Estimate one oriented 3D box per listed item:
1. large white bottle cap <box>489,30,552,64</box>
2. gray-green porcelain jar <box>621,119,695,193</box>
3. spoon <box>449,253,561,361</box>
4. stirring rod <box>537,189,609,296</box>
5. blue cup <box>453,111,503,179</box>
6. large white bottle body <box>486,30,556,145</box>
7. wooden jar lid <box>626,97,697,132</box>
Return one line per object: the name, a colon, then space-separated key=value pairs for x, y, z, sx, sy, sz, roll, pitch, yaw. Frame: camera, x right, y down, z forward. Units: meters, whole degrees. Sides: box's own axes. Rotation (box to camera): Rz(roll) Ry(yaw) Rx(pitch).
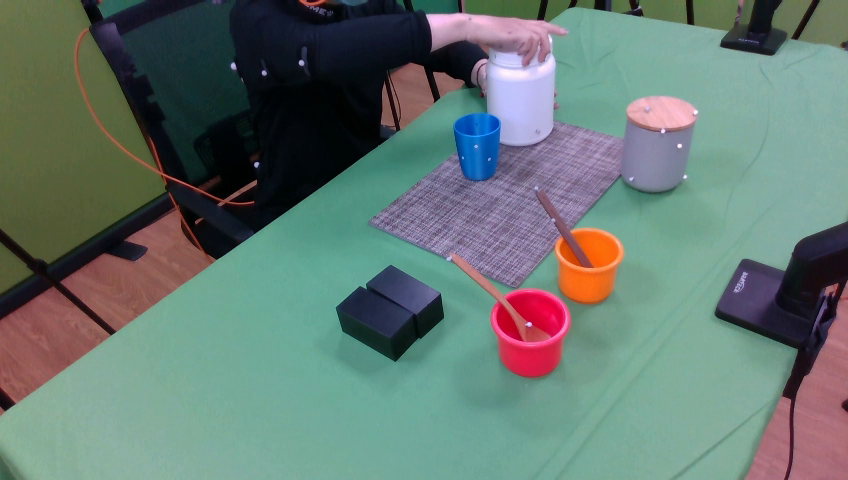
large white bottle cap: x=0.175 y=-0.353 z=1.101 sx=0.115 sy=0.018 sz=0.114 roll=-3 pitch=41 yaw=3
gray-green porcelain jar: x=0.389 y=-0.152 z=1.016 sx=0.106 sy=0.127 sz=0.105 roll=-4 pitch=40 yaw=4
spoon: x=0.103 y=0.083 z=0.770 sx=0.194 sy=0.021 sz=0.042 roll=47 pitch=52 yaw=-7
stirring rod: x=0.210 y=0.003 z=0.855 sx=0.014 sy=0.006 sz=0.176 roll=-32 pitch=88 yaw=-30
blue cup: x=0.097 y=-0.166 z=1.088 sx=0.092 sy=0.100 sz=0.092 roll=-2 pitch=41 yaw=3
large white bottle body: x=0.184 y=-0.290 z=1.155 sx=0.130 sy=0.185 sz=0.130 roll=-4 pitch=41 yaw=4
wooden jar lid: x=0.381 y=-0.198 z=0.976 sx=0.108 sy=0.021 sz=0.108 roll=-2 pitch=40 yaw=3
